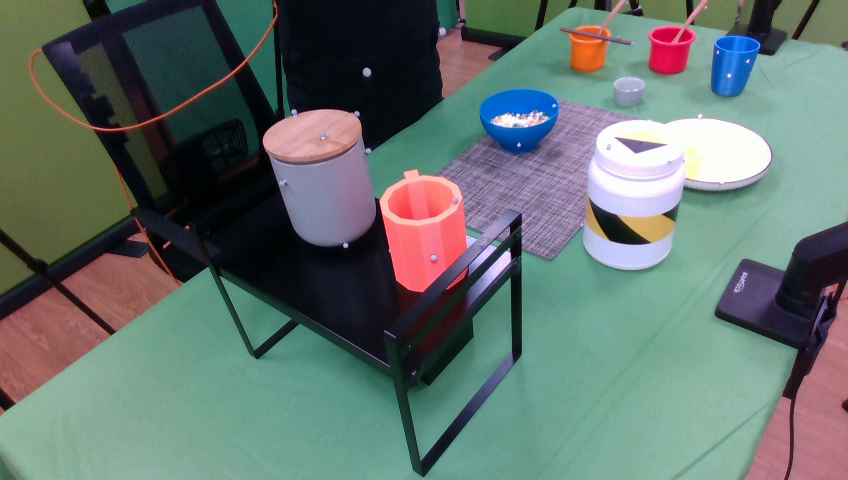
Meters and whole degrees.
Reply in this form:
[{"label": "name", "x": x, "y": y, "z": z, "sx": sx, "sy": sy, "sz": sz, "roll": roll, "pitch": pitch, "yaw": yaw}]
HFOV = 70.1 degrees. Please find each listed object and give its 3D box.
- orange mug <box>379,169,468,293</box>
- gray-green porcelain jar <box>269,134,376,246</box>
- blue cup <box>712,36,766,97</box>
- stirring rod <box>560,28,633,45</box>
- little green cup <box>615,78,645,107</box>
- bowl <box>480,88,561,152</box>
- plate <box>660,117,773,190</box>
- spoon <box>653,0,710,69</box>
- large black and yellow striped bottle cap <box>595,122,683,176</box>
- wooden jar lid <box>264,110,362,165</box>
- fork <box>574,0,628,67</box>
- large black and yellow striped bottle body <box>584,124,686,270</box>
[{"label": "orange mug", "x": -0.002, "y": -0.019, "z": 0.665, "sx": 0.083, "sy": 0.101, "sz": 0.125, "roll": -12, "pitch": 45, "yaw": -4}, {"label": "gray-green porcelain jar", "x": -0.115, "y": -0.064, "z": 0.715, "sx": 0.106, "sy": 0.127, "sz": 0.105, "roll": -4, "pitch": 40, "yaw": 4}, {"label": "blue cup", "x": 0.627, "y": -0.350, "z": 1.227, "sx": 0.092, "sy": 0.100, "sz": 0.092, "roll": -4, "pitch": 39, "yaw": 4}, {"label": "stirring rod", "x": 0.381, "y": -0.452, "z": 1.344, "sx": 0.174, "sy": 0.006, "sz": 0.014, "roll": 26, "pitch": 49, "yaw": 33}, {"label": "little green cup", "x": 0.426, "y": -0.306, "z": 1.257, "sx": 0.061, "sy": 0.039, "sz": 0.061, "roll": -4, "pitch": 40, "yaw": 4}, {"label": "bowl", "x": 0.185, "y": -0.222, "z": 1.160, "sx": 0.151, "sy": 0.077, "sz": 0.150, "roll": -4, "pitch": 40, "yaw": 4}, {"label": "plate", "x": 0.495, "y": -0.148, "z": 1.063, "sx": 0.209, "sy": 0.038, "sz": 0.208, "roll": -5, "pitch": 40, "yaw": 4}, {"label": "spoon", "x": 0.573, "y": -0.459, "z": 1.332, "sx": 0.041, "sy": 0.022, "sz": 0.193, "roll": 44, "pitch": 105, "yaw": 41}, {"label": "large black and yellow striped bottle cap", "x": 0.293, "y": -0.126, "z": 0.826, "sx": 0.115, "sy": 0.019, "sz": 0.114, "roll": -3, "pitch": 40, "yaw": 3}, {"label": "wooden jar lid", "x": -0.122, "y": -0.112, "z": 0.673, "sx": 0.108, "sy": 0.021, "sz": 0.108, "roll": -4, "pitch": 37, "yaw": 4}, {"label": "fork", "x": 0.413, "y": -0.481, "z": 1.377, "sx": 0.207, "sy": 0.019, "sz": 0.028, "roll": -56, "pitch": 43, "yaw": 12}, {"label": "large black and yellow striped bottle body", "x": 0.304, "y": -0.063, "z": 0.880, "sx": 0.131, "sy": 0.185, "sz": 0.130, "roll": -5, "pitch": 41, "yaw": 5}]
